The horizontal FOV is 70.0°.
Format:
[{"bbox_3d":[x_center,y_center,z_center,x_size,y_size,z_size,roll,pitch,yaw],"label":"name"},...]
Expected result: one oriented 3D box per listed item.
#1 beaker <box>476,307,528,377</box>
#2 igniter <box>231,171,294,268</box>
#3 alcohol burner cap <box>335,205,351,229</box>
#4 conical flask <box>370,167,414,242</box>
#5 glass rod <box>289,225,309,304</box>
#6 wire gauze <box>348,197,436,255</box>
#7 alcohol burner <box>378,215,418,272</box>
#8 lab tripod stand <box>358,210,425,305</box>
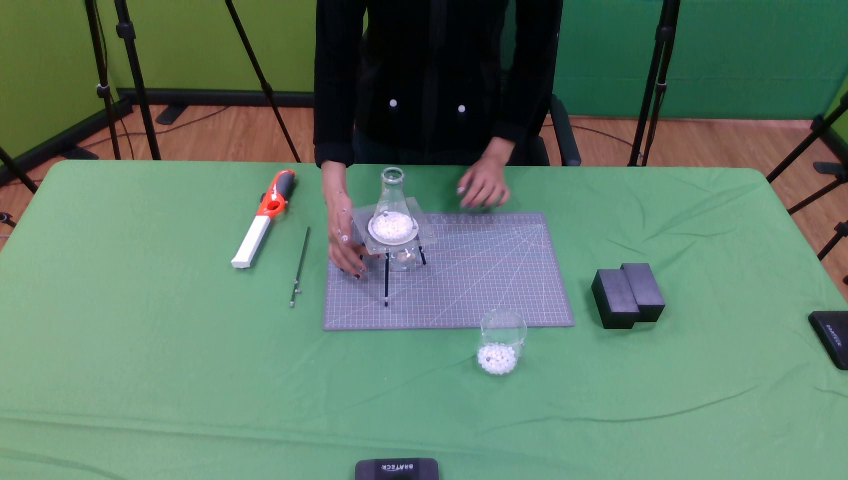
[{"bbox_3d":[0.122,0.171,0.991,0.084,0.101,0.073,-34,56,-31],"label":"beaker"},{"bbox_3d":[-0.321,-0.051,1.220,0.057,0.025,0.275,2,45,12],"label":"igniter"},{"bbox_3d":[-0.164,-0.049,1.216,0.034,0.048,0.033,1,45,-1],"label":"alcohol burner cap"},{"bbox_3d":[-0.053,-0.062,1.000,0.075,0.122,0.075,2,44,-2],"label":"conical flask"},{"bbox_3d":[-0.235,0.042,1.149,0.008,0.008,0.198,3,46,-1],"label":"glass rod"},{"bbox_3d":[-0.056,-0.025,1.046,0.125,0.011,0.120,-14,46,-15],"label":"wire gauze"},{"bbox_3d":[-0.048,0.002,1.127,0.078,0.120,0.077,1,44,-1],"label":"alcohol burner"},{"bbox_3d":[-0.059,0.020,1.094,0.148,0.132,0.147,3,44,-2],"label":"lab tripod stand"}]
